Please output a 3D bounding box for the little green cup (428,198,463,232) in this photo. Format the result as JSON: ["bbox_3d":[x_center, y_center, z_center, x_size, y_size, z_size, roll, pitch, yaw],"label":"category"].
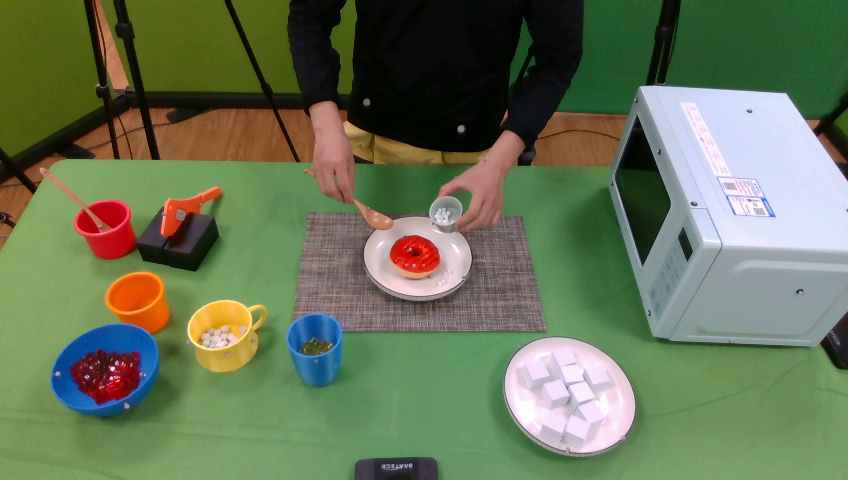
[{"bbox_3d":[0.041,-0.043,1.088,0.061,0.039,0.061,-3,82,17],"label":"little green cup"}]

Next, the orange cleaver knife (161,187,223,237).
[{"bbox_3d":[-0.448,-0.058,1.181,0.012,0.077,0.211,13,17,6],"label":"orange cleaver knife"}]

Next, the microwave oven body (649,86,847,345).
[{"bbox_3d":[0.568,-0.053,1.118,0.326,0.261,0.439,2,45,-1],"label":"microwave oven body"}]

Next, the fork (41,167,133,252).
[{"bbox_3d":[-0.624,-0.056,1.121,0.208,0.018,0.028,49,51,-15],"label":"fork"}]

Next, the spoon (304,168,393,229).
[{"bbox_3d":[-0.138,-0.078,1.101,0.193,0.022,0.041,37,45,3],"label":"spoon"}]

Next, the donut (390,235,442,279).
[{"bbox_3d":[-0.016,0.031,1.134,0.099,0.048,0.098,3,44,-3],"label":"donut"}]

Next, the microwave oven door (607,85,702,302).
[{"bbox_3d":[0.423,-0.094,1.141,0.039,0.245,0.353,2,46,-1],"label":"microwave oven door"}]

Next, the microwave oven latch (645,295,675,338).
[{"bbox_3d":[0.412,0.134,1.061,0.030,0.029,0.078,3,45,0],"label":"microwave oven latch"}]

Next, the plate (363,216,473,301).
[{"bbox_3d":[-0.011,0.038,1.145,0.209,0.038,0.208,2,46,-2],"label":"plate"}]

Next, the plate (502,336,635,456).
[{"bbox_3d":[0.225,0.248,0.963,0.208,0.039,0.206,2,46,-2],"label":"plate"}]

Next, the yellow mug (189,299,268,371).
[{"bbox_3d":[-0.316,0.148,1.002,0.131,0.064,0.099,-32,56,-31],"label":"yellow mug"}]

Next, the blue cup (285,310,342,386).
[{"bbox_3d":[-0.170,0.179,0.958,0.093,0.101,0.092,2,44,-1],"label":"blue cup"}]

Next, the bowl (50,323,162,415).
[{"bbox_3d":[-0.472,0.209,0.924,0.151,0.077,0.150,3,45,-2],"label":"bowl"}]
